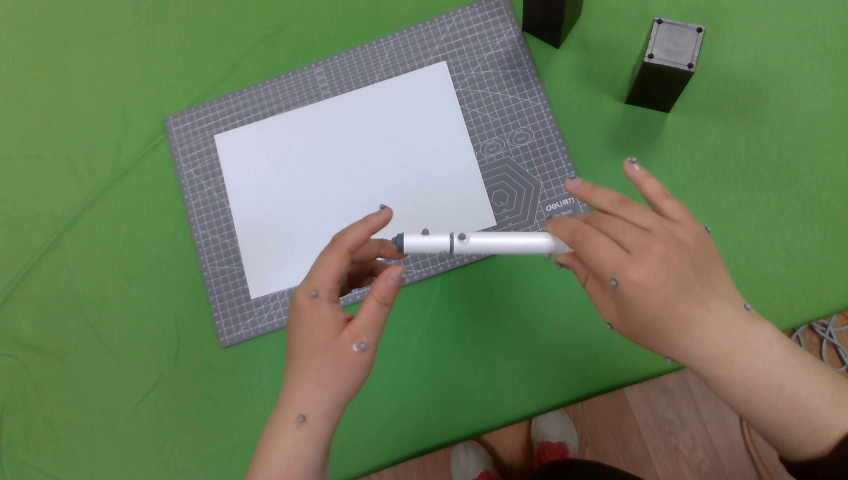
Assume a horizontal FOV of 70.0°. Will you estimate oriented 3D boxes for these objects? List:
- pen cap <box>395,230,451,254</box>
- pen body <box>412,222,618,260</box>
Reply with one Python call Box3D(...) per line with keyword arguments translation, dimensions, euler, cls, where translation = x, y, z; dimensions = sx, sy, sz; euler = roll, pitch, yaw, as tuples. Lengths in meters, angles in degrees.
Box3D(translation=(0.000, 0.001, 0.415), dimensions=(0.038, 0.017, 0.017), euler=(0, 80, -7), cls="pen cap")
Box3D(translation=(0.063, 0.000, 0.422), dimensions=(0.144, 0.017, 0.017), euler=(6, 80, -5), cls="pen body")
